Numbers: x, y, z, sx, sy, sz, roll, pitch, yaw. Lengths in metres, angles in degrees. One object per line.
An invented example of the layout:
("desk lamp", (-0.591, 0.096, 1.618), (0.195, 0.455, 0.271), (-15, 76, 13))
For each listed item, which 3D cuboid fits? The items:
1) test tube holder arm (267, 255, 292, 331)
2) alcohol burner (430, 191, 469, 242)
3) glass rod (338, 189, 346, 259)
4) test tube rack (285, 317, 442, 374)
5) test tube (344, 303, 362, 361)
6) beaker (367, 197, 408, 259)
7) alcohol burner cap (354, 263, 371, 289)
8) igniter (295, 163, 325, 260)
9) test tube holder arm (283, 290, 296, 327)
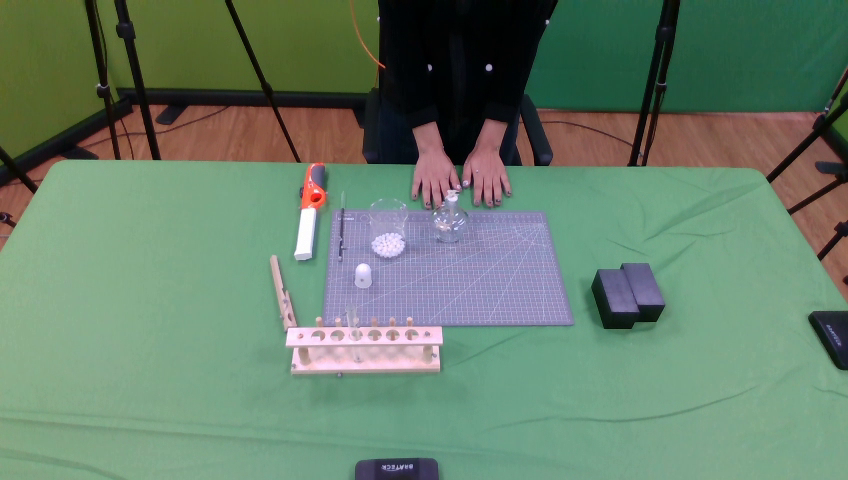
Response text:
("test tube holder arm", (-0.261, 0.091, 1.092), (0.013, 0.015, 0.177), (14, 35, -39))
("alcohol burner", (0.052, -0.053, 1.185), (0.078, 0.119, 0.077), (2, 48, -2))
("glass rod", (-0.165, -0.036, 1.227), (0.008, 0.008, 0.198), (0, 46, -3))
("test tube rack", (-0.095, 0.166, 0.988), (0.242, 0.085, 0.066), (0, 46, -4))
("test tube", (-0.109, 0.146, 0.937), (0.017, 0.151, 0.017), (0, 49, 0))
("beaker", (-0.067, -0.018, 1.153), (0.074, 0.101, 0.083), (-26, 54, -25))
("alcohol burner cap", (-0.113, 0.063, 1.111), (0.034, 0.048, 0.033), (2, 45, -2))
("igniter", (-0.234, -0.067, 1.243), (0.057, 0.025, 0.274), (-6, 46, 4))
("test tube holder arm", (-0.241, 0.123, 1.067), (0.010, 0.015, 0.087), (15, 34, -38))
